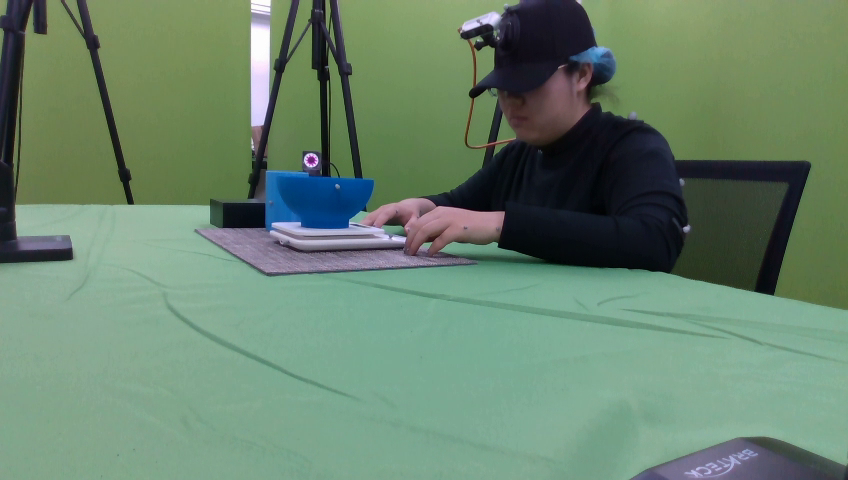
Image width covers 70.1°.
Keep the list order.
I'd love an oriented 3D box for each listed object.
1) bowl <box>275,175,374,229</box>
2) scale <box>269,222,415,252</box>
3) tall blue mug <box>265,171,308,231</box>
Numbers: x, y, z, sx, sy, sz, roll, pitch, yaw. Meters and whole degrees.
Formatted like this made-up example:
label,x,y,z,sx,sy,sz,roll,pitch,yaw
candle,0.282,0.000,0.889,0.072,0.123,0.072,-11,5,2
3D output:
label,x,y,z,sx,sy,sz,roll,pitch,yaw
bowl,-0.153,-0.059,0.933,0.151,0.077,0.151,2,7,0
scale,-0.130,-0.008,0.958,0.202,0.031,0.148,-1,8,-32
tall blue mug,-0.248,-0.073,1.121,0.078,0.108,0.107,3,8,8
